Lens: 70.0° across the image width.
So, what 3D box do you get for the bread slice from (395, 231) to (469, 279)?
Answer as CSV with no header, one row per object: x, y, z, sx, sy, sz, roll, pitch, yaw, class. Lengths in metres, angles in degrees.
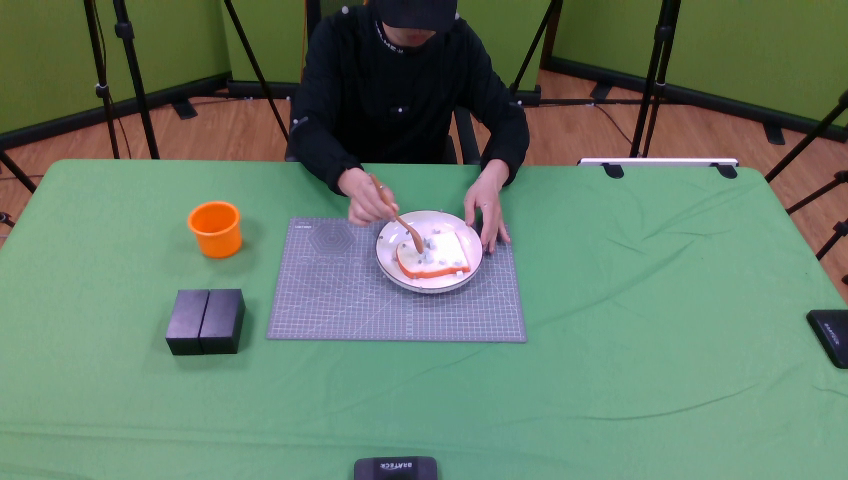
0.011,0.030,1.159,0.132,0.019,0.104,-9,47,-14,bread slice

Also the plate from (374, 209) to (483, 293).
0.009,0.024,1.160,0.209,0.038,0.208,2,46,-2,plate

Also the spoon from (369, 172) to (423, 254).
-0.049,-0.045,1.079,0.021,0.195,0.041,-39,36,-4,spoon
